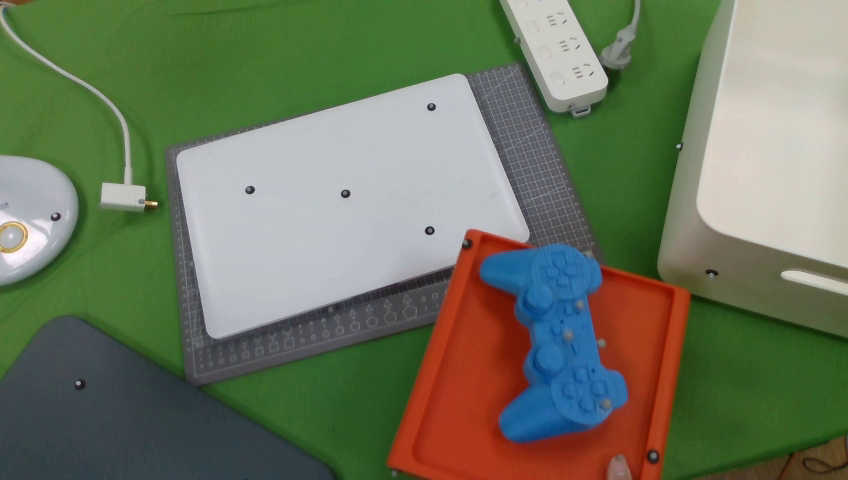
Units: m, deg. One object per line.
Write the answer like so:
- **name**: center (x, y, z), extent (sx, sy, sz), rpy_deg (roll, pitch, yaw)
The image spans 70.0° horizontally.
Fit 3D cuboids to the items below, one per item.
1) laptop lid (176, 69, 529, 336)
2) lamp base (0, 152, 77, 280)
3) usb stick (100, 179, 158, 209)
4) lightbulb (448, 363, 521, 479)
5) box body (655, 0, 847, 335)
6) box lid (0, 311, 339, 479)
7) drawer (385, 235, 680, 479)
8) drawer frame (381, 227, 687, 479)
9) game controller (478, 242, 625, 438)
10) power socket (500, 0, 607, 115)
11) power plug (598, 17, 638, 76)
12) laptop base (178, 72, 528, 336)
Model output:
- **laptop lid**: center (-0.087, -0.053, 0.670), extent (0.357, 0.013, 0.239), rpy_deg (-16, 69, -3)
- **lamp base**: center (-0.490, -0.067, 0.625), extent (0.160, 0.182, 0.178), rpy_deg (-42, 67, -14)
- **usb stick**: center (-0.332, -0.051, 0.684), extent (0.059, 0.021, 0.027), rpy_deg (9, 67, -29)
- **lightbulb**: center (0.048, 0.152, 0.512), extent (0.059, 0.060, 0.106), rpy_deg (-6, 47, 1)
- **box body**: center (0.395, -0.104, 0.599), extent (0.253, 0.161, 0.362), rpy_deg (16, 69, 10)
- **box lid**: center (-0.293, 0.248, 0.570), extent (0.370, 0.015, 0.262), rpy_deg (26, 71, 13)
- **drawer**: center (0.095, 0.121, 0.515), extent (0.194, 0.074, 0.210), rpy_deg (15, 67, 11)
- **drawer frame**: center (0.096, 0.120, 0.515), extent (0.201, 0.083, 0.212), rpy_deg (16, 67, 10)
- **game controller**: center (0.100, 0.073, 0.480), extent (0.097, 0.052, 0.154), rpy_deg (-2, 66, -5)
- **power socket**: center (0.155, -0.254, 0.749), extent (0.072, 0.033, 0.224), rpy_deg (-16, 66, -4)
- **power plug**: center (0.240, -0.229, 0.730), extent (0.072, 0.053, 0.035), rpy_deg (-33, 63, -29)
- **laptop base**: center (-0.086, -0.050, 0.682), extent (0.354, 0.023, 0.233), rpy_deg (-17, 70, -4)
